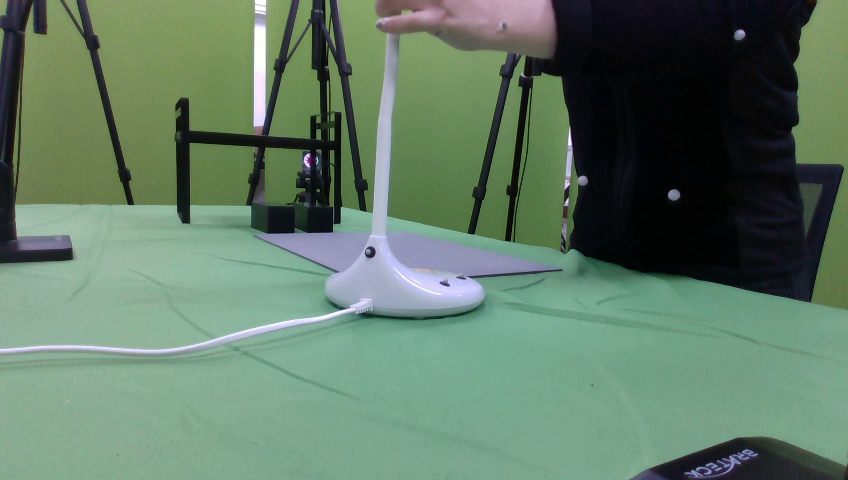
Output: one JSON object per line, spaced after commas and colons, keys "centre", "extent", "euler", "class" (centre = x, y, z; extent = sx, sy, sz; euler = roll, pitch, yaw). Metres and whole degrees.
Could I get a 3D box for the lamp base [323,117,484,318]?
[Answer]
{"centre": [-0.021, -0.025, 0.583], "extent": [0.160, 0.180, 0.179], "euler": [5, 10, 16], "class": "lamp base"}
